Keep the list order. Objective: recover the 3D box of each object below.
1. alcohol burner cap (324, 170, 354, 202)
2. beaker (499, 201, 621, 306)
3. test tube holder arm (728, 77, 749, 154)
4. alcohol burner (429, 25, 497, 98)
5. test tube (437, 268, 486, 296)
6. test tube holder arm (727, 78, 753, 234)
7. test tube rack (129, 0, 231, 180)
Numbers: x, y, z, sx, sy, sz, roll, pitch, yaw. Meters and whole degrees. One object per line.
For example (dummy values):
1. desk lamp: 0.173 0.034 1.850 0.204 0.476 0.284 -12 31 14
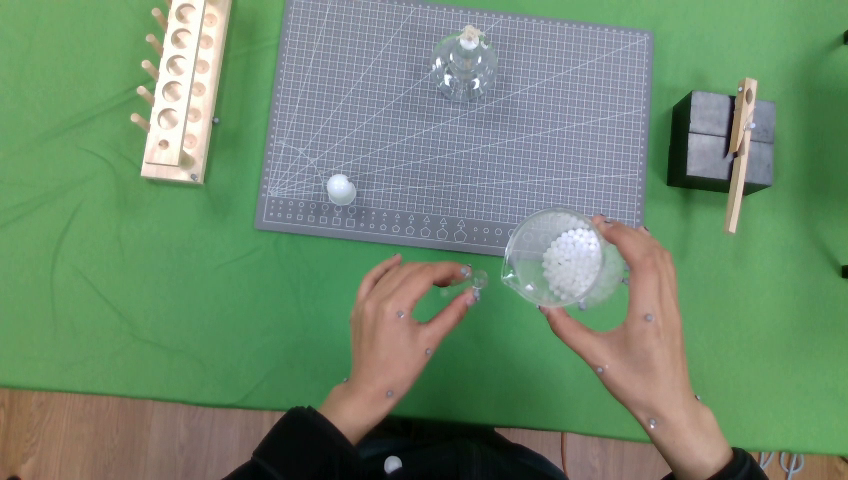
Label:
1. alcohol burner cap: -0.097 -0.063 0.681 0.034 0.048 0.034 0 83 -4
2. beaker: 0.113 0.017 0.484 0.084 0.101 0.073 -24 73 22
3. test tube holder arm: 0.355 -0.140 0.685 0.010 0.015 0.087 9 84 0
4. alcohol burner: 0.044 -0.204 0.671 0.078 0.119 0.077 0 83 -1
5. test tube: 0.031 0.040 0.553 0.017 0.150 0.017 1 82 -9
6. test tube holder arm: 0.355 -0.095 0.681 0.013 0.015 0.178 7 84 -1
7. test tube rack: -0.272 -0.197 0.668 0.067 0.085 0.241 7 82 -2
